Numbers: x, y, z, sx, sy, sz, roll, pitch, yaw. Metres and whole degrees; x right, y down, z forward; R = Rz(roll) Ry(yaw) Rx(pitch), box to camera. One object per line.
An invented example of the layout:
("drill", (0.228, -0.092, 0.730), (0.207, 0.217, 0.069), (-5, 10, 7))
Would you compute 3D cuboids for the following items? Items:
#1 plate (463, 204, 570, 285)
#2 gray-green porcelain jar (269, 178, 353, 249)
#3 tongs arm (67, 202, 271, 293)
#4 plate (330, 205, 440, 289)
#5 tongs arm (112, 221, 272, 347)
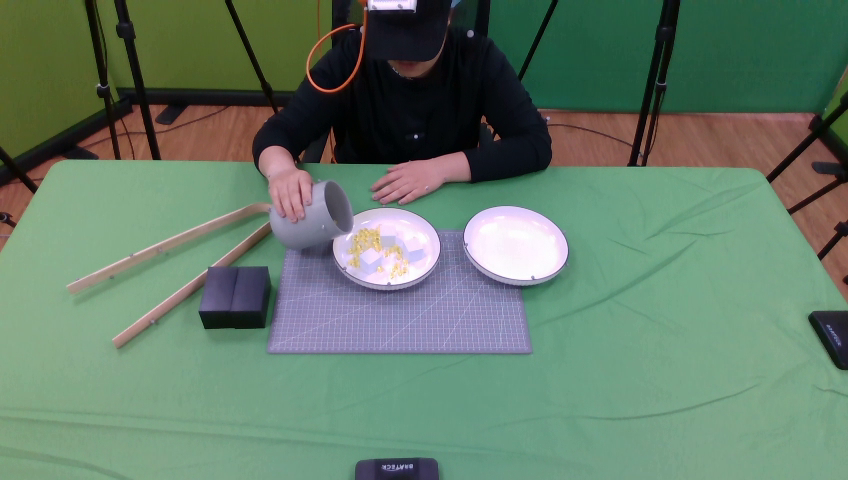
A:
("plate", (0.178, 0.012, 1.184), (0.209, 0.038, 0.208), (3, 46, -3))
("gray-green porcelain jar", (-0.210, -0.045, 1.113), (0.126, 0.106, 0.105), (-17, 43, 19))
("tongs arm", (-0.461, 0.013, 1.142), (0.385, 0.026, 0.050), (-31, 56, -31))
("plate", (-0.074, 0.017, 1.161), (0.208, 0.039, 0.206), (2, 47, -2))
("tongs arm", (-0.401, 0.058, 1.109), (0.028, 0.028, 0.387), (26, 49, 23))
